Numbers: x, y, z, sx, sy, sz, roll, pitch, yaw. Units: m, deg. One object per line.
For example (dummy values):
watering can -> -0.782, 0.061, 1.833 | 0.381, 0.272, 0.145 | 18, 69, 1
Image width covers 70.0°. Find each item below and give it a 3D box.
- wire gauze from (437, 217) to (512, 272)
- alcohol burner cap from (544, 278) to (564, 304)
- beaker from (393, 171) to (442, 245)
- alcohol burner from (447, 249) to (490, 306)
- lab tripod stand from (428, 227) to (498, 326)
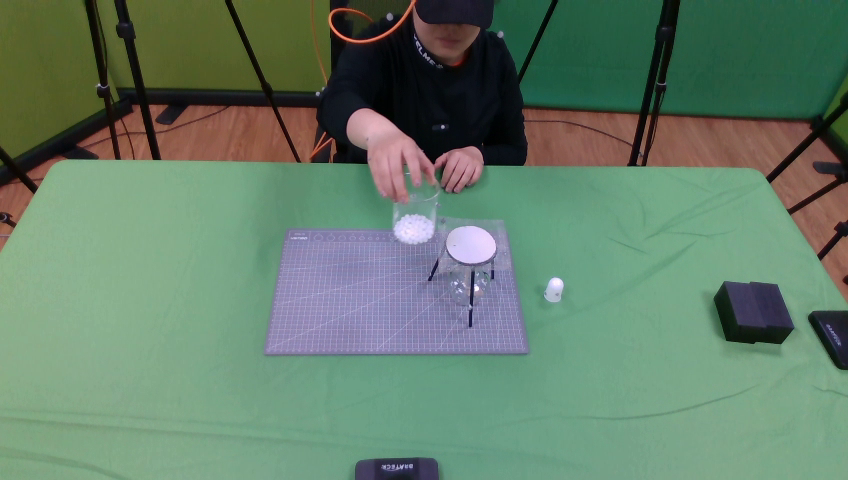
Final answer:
wire gauze -> 0.083, 0.006, 1.025 | 0.121, 0.011, 0.124 | 2, 47, -4
alcohol burner cap -> 0.241, 0.090, 1.117 | 0.034, 0.048, 0.033 | 2, 45, -2
beaker -> -0.012, -0.050, 0.966 | 0.074, 0.101, 0.083 | 7, 42, 1
alcohol burner -> 0.080, 0.062, 1.078 | 0.078, 0.120, 0.077 | 1, 45, -1
lab tripod stand -> 0.079, 0.056, 1.070 | 0.148, 0.132, 0.147 | 3, 47, -3
